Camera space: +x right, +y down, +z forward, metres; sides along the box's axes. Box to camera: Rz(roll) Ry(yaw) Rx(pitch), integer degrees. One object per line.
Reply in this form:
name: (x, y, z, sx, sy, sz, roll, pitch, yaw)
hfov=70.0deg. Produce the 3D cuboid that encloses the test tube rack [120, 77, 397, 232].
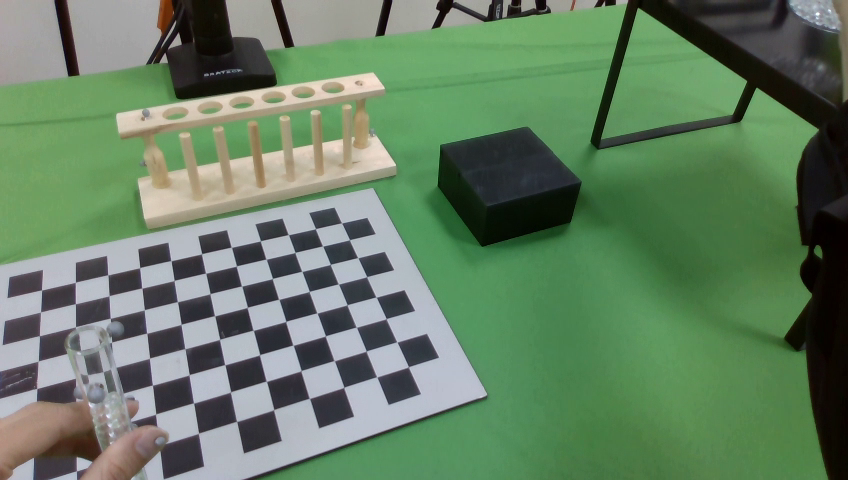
test tube rack: (-0.150, -0.087, 0.587, 0.243, 0.086, 0.066, -15, 46, -19)

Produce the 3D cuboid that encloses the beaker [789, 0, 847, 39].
beaker: (0.324, -0.210, 0.447, 0.074, 0.101, 0.083, -29, 53, -27)

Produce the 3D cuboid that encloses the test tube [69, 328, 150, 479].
test tube: (-0.139, 0.100, 0.280, 0.017, 0.151, 0.017, 5, 35, -3)
